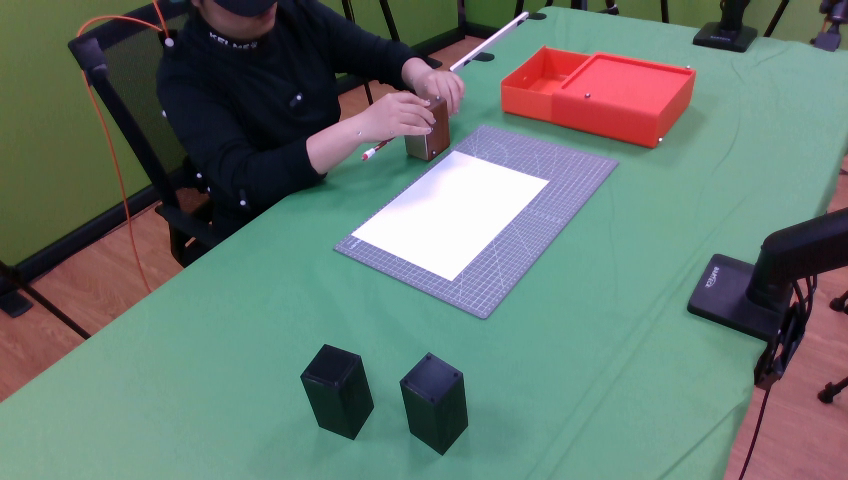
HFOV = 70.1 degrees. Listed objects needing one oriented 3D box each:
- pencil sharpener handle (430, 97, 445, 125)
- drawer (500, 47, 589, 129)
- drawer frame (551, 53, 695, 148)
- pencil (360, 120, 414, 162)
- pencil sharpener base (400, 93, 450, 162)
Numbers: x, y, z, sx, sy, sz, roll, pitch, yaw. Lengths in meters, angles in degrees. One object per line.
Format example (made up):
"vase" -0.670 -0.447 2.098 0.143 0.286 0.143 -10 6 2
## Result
"pencil sharpener handle" 0.032 -0.256 1.182 0.036 0.068 0.031 36 54 18
"drawer" 0.296 -0.316 1.256 0.210 0.073 0.195 22 47 29
"drawer frame" 0.391 -0.281 1.196 0.212 0.083 0.202 22 48 29
"pencil" -0.049 -0.193 1.095 0.012 0.012 0.194 23 49 31
"pencil sharpener base" 0.005 -0.216 1.159 0.061 0.107 0.077 24 49 32
